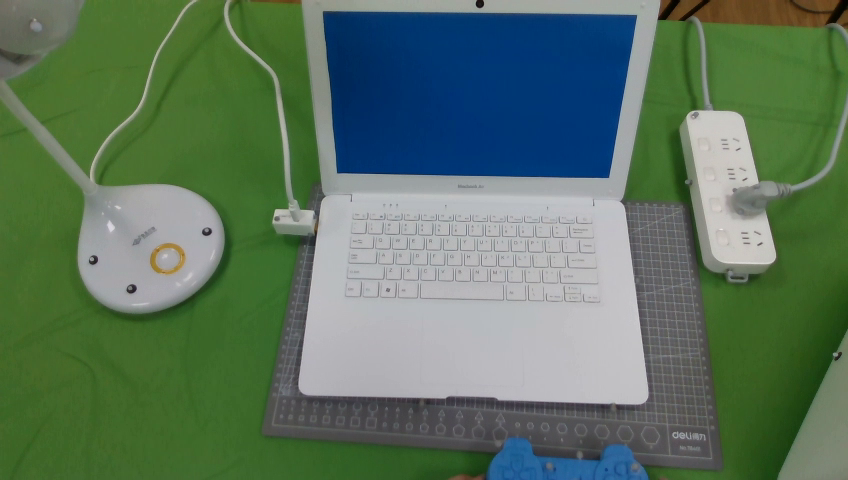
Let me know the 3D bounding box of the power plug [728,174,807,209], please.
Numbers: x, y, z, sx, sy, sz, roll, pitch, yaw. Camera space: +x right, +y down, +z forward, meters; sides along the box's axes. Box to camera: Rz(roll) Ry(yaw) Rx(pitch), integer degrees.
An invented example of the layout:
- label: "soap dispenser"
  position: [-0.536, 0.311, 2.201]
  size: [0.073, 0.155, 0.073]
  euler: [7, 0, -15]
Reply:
- label: "power plug"
  position: [0.376, -0.047, 0.672]
  size: [0.072, 0.053, 0.035]
  euler: [12, 64, 6]

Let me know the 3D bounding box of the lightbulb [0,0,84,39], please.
- label: "lightbulb"
  position: [-0.244, -0.168, 0.345]
  size: [0.059, 0.059, 0.108]
  euler: [-36, 107, -16]

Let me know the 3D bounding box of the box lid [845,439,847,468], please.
- label: "box lid"
  position: [0.514, 0.107, 0.463]
  size: [0.262, 0.015, 0.370]
  euler: [34, 70, 17]

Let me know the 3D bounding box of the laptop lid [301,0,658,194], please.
- label: "laptop lid"
  position: [0.053, -0.153, 0.649]
  size: [0.357, 0.243, 0.013]
  euler: [0, 33, 2]

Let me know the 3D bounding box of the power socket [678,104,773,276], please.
- label: "power socket"
  position: [0.348, -0.067, 0.707]
  size: [0.072, 0.033, 0.225]
  euler: [3, 63, 1]

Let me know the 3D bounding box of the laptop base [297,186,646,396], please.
- label: "laptop base"
  position: [0.050, 0.050, 0.661]
  size: [0.354, 0.023, 0.233]
  euler: [1, 67, 1]

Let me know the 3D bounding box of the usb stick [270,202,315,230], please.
- label: "usb stick"
  position: [-0.141, -0.026, 0.687]
  size: [0.059, 0.027, 0.021]
  euler: [5, 58, 0]

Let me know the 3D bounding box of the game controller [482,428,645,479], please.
- label: "game controller"
  position: [0.129, 0.226, 0.556]
  size: [0.155, 0.052, 0.096]
  euler: [4, 61, 2]

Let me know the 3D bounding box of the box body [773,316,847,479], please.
- label: "box body"
  position: [0.514, 0.141, 0.529]
  size: [0.252, 0.161, 0.363]
  euler: [34, 69, 16]

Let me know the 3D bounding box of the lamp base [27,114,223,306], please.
- label: "lamp base"
  position: [-0.321, -0.041, 0.621]
  size: [0.178, 0.182, 0.160]
  euler: [28, 67, 17]

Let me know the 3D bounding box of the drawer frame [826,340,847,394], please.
- label: "drawer frame"
  position: [0.536, 0.115, 0.577]
  size: [0.200, 0.083, 0.213]
  euler: [40, 67, 16]

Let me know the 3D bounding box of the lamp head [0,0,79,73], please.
- label: "lamp head"
  position: [-0.276, -0.173, 0.348]
  size: [0.123, 0.112, 0.112]
  euler: [30, 65, -10]
